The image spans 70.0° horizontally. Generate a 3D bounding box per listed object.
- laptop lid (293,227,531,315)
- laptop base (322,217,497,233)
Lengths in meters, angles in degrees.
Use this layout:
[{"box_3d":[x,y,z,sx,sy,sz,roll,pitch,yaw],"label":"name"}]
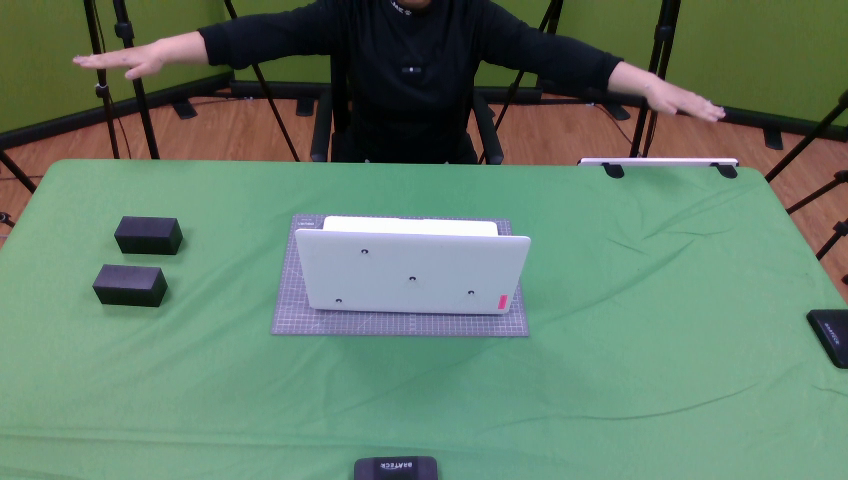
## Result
[{"box_3d":[-0.021,0.058,0.975,0.357,0.243,0.013,3,53,-4],"label":"laptop lid"},{"box_3d":[-0.028,0.045,1.154,0.354,0.023,0.234,2,43,-3],"label":"laptop base"}]
